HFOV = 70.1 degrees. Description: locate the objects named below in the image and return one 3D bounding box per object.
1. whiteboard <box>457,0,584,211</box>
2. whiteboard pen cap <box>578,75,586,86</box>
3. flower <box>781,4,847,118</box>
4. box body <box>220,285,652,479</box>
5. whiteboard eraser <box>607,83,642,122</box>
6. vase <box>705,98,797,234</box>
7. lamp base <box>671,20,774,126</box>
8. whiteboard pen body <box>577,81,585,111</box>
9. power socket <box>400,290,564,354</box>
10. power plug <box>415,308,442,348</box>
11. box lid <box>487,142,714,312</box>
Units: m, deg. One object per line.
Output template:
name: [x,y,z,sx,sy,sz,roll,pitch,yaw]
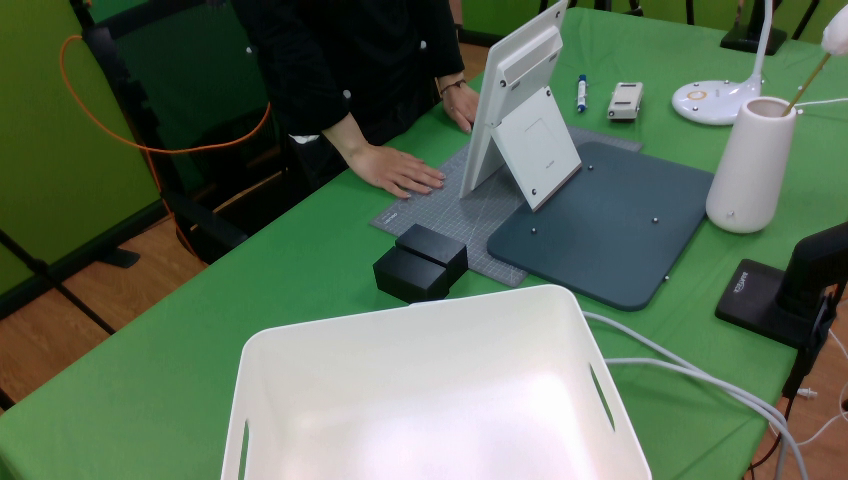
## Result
whiteboard: [0.193,-0.191,0.983,0.143,0.306,0.218,36,55,21]
whiteboard pen cap: [0.349,-0.351,1.334,0.018,0.018,0.033,3,39,12]
flower: [0.481,-0.157,0.823,0.044,0.362,0.038,-8,56,-9]
box body: [0.005,0.211,0.616,0.364,0.161,0.252,-9,40,-2]
whiteboard eraser: [0.406,-0.277,1.222,0.055,0.042,0.112,9,43,22]
vase: [0.480,-0.104,0.888,0.098,0.201,0.097,-4,42,4]
lamp base: [0.581,-0.332,1.154,0.179,0.181,0.160,2,41,7]
whiteboard pen body: [0.335,-0.313,1.292,0.017,0.017,0.140,3,40,12]
power socket: [0.079,0.111,0.823,0.227,0.033,0.072,-6,41,1]
power plug: [0.004,0.121,0.786,0.035,0.053,0.072,1,45,9]
box lid: [0.298,-0.041,0.986,0.261,0.015,0.372,23,49,30]
